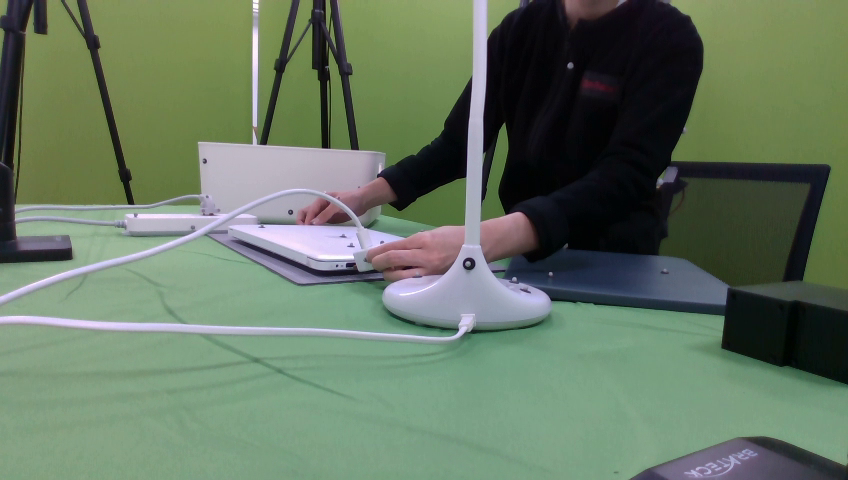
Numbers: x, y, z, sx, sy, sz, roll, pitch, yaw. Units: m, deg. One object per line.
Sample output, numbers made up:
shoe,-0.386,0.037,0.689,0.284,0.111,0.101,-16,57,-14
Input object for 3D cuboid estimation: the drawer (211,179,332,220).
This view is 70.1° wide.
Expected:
drawer,-0.328,-0.095,1.332,0.212,0.073,0.194,5,8,6

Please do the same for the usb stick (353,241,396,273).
usb stick,-0.060,0.021,0.683,0.059,0.027,0.021,-18,7,46

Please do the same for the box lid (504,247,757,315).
box lid,0.244,0.044,0.793,0.263,0.015,0.372,4,6,11

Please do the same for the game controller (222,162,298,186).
game controller,-0.357,-0.144,1.321,0.156,0.051,0.097,1,2,-16

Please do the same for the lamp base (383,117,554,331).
lamp base,0.045,-0.019,0.547,0.161,0.180,0.179,2,10,-4

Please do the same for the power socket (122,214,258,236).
power socket,-0.399,-0.028,1.049,0.228,0.032,0.072,-3,8,-34

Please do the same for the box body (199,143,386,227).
box body,-0.276,-0.124,1.335,0.364,0.160,0.254,3,7,1

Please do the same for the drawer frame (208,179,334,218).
drawer frame,-0.327,-0.093,1.328,0.213,0.082,0.202,0,5,6

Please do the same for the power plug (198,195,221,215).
power plug,-0.387,-0.055,1.089,0.035,0.052,0.072,-1,6,-22

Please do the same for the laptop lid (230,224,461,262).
laptop lid,-0.119,0.000,0.889,0.243,0.013,0.355,1,7,-33

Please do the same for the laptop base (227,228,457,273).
laptop base,-0.122,0.012,0.889,0.237,0.023,0.352,1,7,-35
